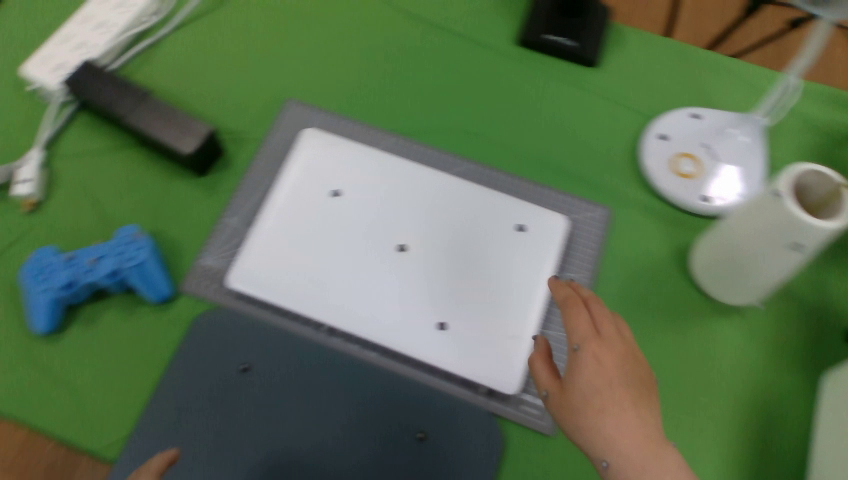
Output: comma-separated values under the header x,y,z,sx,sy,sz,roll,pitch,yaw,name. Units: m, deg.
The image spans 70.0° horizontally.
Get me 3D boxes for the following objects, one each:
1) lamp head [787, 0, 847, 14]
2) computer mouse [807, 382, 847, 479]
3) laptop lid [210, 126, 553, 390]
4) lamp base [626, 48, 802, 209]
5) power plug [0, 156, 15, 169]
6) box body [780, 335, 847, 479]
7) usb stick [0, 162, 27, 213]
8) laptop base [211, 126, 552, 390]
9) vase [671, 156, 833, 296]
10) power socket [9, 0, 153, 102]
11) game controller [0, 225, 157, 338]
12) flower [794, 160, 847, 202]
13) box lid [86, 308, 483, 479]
x,y,z,sx,sy,sz,roll,pitch,yaw,name
0.320,-0.248,0.447,0.123,0.113,0.111,-42,73,0,lamp head
0.455,0.210,0.652,0.062,0.041,0.116,20,59,9,computer mouse
-0.044,0.009,0.714,0.356,0.013,0.240,21,69,6,laptop lid
0.359,-0.151,0.734,0.179,0.181,0.159,-32,72,-18,lamp base
-0.543,-0.080,0.736,0.052,0.035,0.072,13,27,27,power plug
0.485,0.285,0.559,0.254,0.161,0.362,21,67,7,box body
-0.495,-0.062,0.725,0.021,0.027,0.059,1,74,-13,usb stick
-0.044,0.012,0.726,0.354,0.023,0.234,19,70,5,laptop base
0.349,-0.012,0.661,0.098,0.201,0.097,1,64,-1,vase
-0.459,-0.279,0.820,0.072,0.033,0.226,27,67,7,power socket
-0.390,0.041,0.678,0.155,0.052,0.096,-16,65,-11,game controller
0.371,-0.048,0.588,0.038,0.363,0.043,13,55,-15,flower
-0.145,0.239,0.627,0.371,0.015,0.262,19,67,5,box lid
